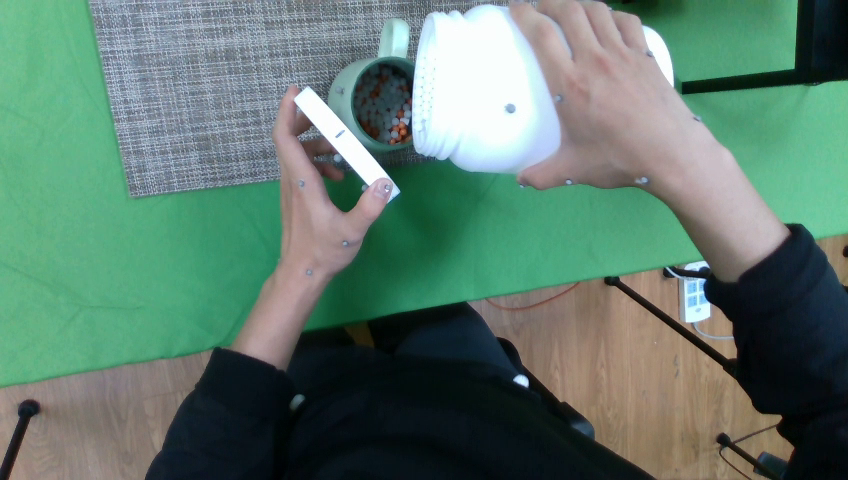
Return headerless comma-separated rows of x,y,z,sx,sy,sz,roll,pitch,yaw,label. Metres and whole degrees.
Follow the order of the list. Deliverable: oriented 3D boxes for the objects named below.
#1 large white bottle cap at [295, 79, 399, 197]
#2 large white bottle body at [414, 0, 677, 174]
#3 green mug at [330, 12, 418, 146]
-0.063,-0.084,0.508,0.018,0.114,0.115,-41,109,1,large white bottle cap
0.091,-0.124,0.497,0.185,0.130,0.131,3,100,-12,large white bottle body
-0.036,-0.152,0.577,0.093,0.104,0.125,8,98,-18,green mug
